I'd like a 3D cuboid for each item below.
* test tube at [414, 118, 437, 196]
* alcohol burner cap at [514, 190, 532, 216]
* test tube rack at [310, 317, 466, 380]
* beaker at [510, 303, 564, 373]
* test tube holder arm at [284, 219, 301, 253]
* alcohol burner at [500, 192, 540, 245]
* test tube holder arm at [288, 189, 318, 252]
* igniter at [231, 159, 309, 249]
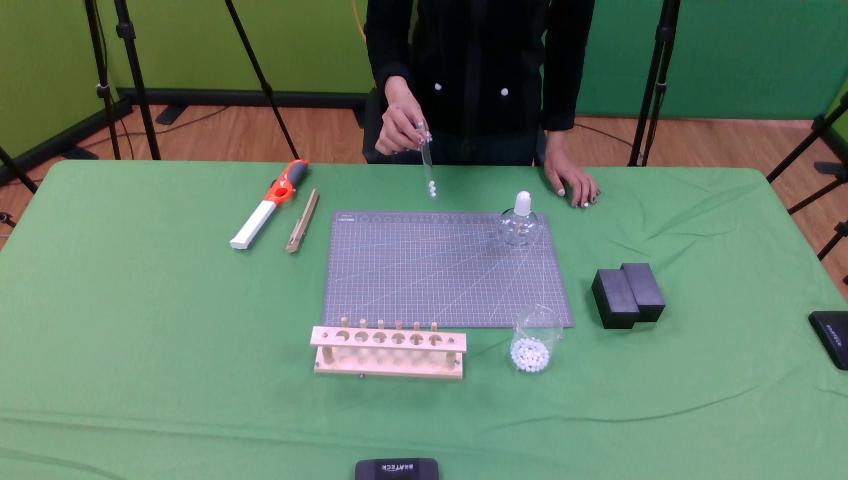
[{"bbox_3d":[0.004,-0.142,1.062,0.017,0.151,0.017,-8,34,6],"label":"test tube"},{"bbox_3d":[0.192,-0.074,1.166,0.034,0.048,0.033,1,41,-1],"label":"alcohol burner cap"},{"bbox_3d":[-0.056,0.171,0.987,0.242,0.085,0.066,3,45,-1],"label":"test tube rack"},{"bbox_3d":[0.182,0.164,1.000,0.074,0.101,0.083,2,45,-1],"label":"beaker"},{"bbox_3d":[-0.254,-0.010,1.194,0.010,0.015,0.087,-14,39,26],"label":"test tube holder arm"},{"bbox_3d":[0.190,-0.048,1.190,0.078,0.120,0.077,1,47,-1],"label":"alcohol burner"},{"bbox_3d":[-0.242,-0.043,1.223,0.013,0.015,0.177,-15,39,25],"label":"test tube holder arm"},{"bbox_3d":[-0.313,-0.082,1.251,0.057,0.025,0.275,8,45,18],"label":"igniter"}]
